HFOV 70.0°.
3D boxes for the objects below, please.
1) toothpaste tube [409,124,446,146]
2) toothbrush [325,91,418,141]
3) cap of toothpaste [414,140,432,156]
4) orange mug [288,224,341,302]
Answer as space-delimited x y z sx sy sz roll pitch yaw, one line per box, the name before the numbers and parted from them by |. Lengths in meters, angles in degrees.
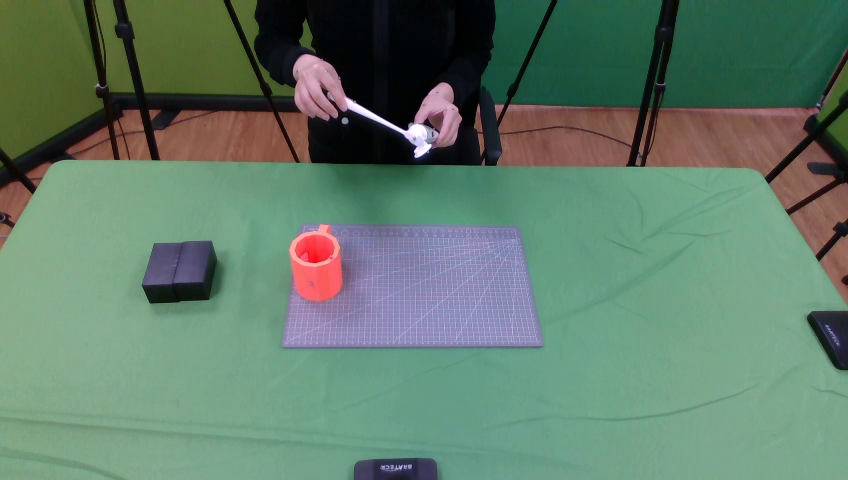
toothpaste tube | 0.003 -0.190 1.079 0.055 0.034 0.165 34 18 3
toothbrush | -0.088 -0.209 1.012 0.181 0.014 0.016 28 30 13
cap of toothpaste | -0.003 -0.152 0.997 0.037 0.011 0.037 -34 24 18
orange mug | -0.192 0.034 1.094 0.083 0.101 0.125 7 50 2
